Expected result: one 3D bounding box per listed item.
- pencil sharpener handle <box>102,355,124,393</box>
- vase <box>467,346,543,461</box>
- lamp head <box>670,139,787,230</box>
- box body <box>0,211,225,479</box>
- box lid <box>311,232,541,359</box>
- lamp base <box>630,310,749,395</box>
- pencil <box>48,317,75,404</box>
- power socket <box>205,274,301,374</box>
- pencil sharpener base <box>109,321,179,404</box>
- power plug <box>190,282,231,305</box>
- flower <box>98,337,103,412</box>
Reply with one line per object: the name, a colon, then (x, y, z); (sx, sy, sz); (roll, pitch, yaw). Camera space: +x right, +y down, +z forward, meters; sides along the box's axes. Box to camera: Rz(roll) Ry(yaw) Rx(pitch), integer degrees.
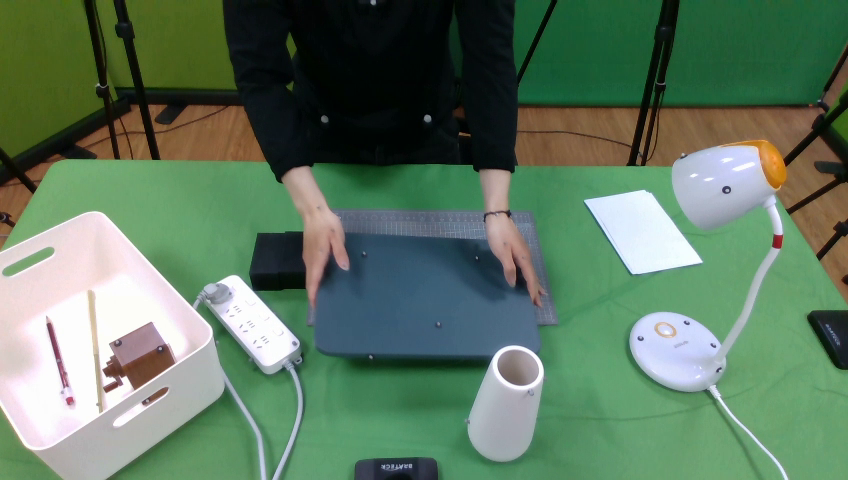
pencil sharpener handle: (-0.460, 0.200, 0.887); (0.030, 0.068, 0.036); (-29, 60, -29)
vase: (0.116, 0.234, 0.861); (0.098, 0.201, 0.097); (1, 47, -1)
lamp head: (0.415, -0.079, 0.811); (0.113, 0.123, 0.112); (12, 70, -37)
box body: (-0.504, 0.154, 0.916); (0.362, 0.161, 0.254); (36, 54, 27)
box lid: (0.000, 0.088, 1.028); (0.372, 0.015, 0.261); (3, 45, -8)
lamp base: (0.447, 0.143, 0.984); (0.161, 0.181, 0.178); (-24, 55, -24)
pencil: (-0.587, 0.189, 0.975); (0.012, 0.012, 0.193); (-23, 50, -24)
power socket: (-0.296, 0.140, 1.035); (0.072, 0.033, 0.225); (-32, 57, -30)
pencil sharpener base: (-0.420, 0.187, 0.919); (0.077, 0.107, 0.061); (-29, 55, -29)
power plug: (-0.368, 0.097, 1.039); (0.072, 0.053, 0.035); (-26, 55, -20)
flower: (-0.513, 0.210, 0.960); (0.044, 0.038, 0.359); (7, 34, -32)
